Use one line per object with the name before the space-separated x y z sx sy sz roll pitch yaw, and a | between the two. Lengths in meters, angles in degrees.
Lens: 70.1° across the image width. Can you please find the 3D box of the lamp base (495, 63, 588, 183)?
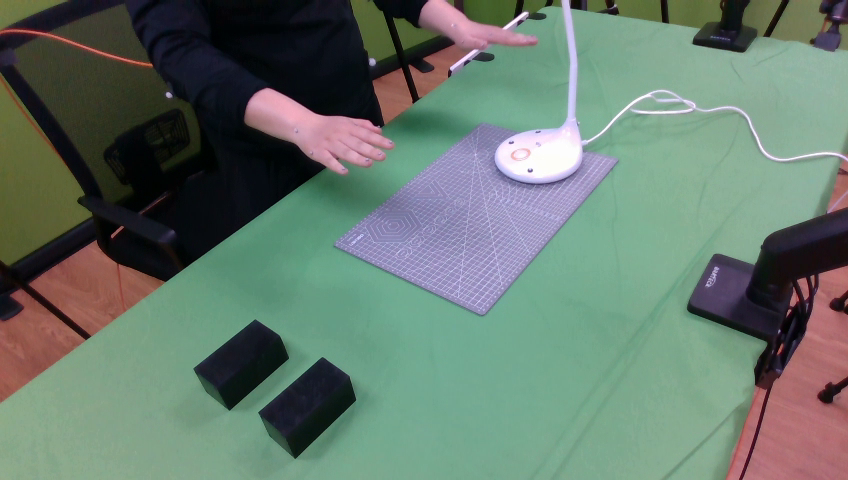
lamp base | 0.214 -0.217 1.067 0.180 0.181 0.159 -20 42 -18
